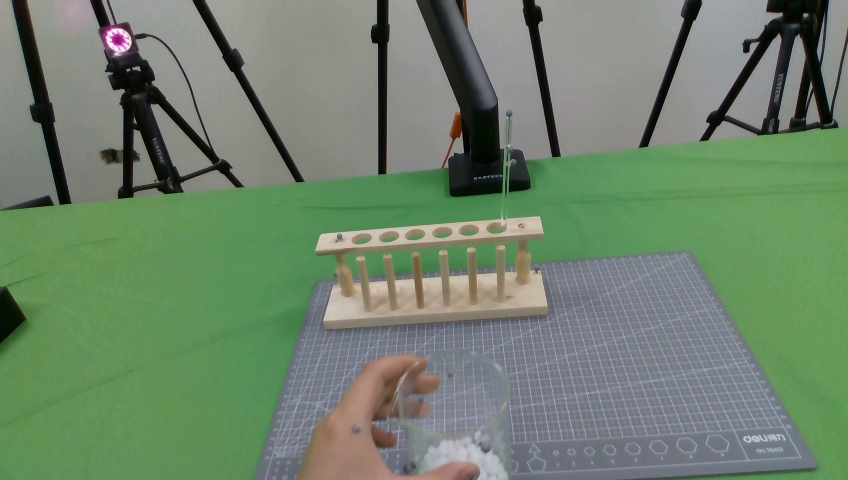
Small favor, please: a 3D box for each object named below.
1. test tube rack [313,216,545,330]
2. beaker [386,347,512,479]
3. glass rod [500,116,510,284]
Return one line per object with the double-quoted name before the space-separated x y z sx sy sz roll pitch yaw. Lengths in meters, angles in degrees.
"test tube rack" 0.006 0.037 0.657 0.242 0.086 0.066 -4 33 5
"beaker" 0.020 0.137 0.415 0.084 0.101 0.073 -17 34 -14
"glass rod" 0.083 -0.033 0.624 0.008 0.201 0.008 -2 34 2
